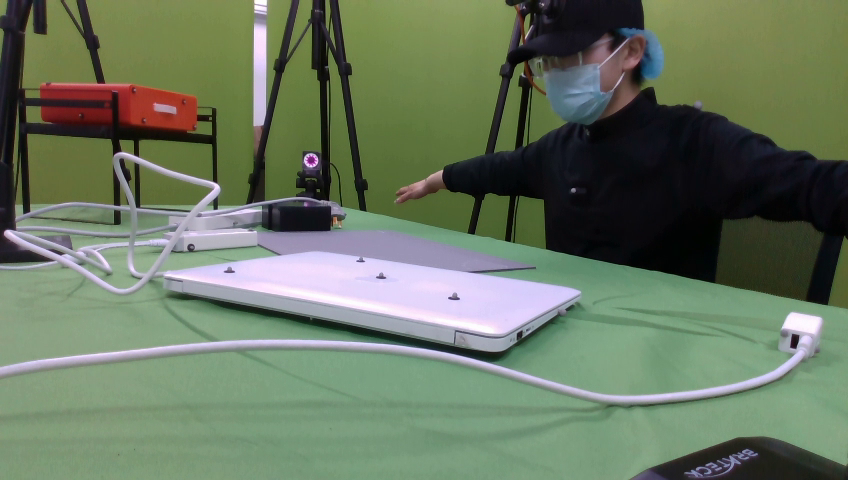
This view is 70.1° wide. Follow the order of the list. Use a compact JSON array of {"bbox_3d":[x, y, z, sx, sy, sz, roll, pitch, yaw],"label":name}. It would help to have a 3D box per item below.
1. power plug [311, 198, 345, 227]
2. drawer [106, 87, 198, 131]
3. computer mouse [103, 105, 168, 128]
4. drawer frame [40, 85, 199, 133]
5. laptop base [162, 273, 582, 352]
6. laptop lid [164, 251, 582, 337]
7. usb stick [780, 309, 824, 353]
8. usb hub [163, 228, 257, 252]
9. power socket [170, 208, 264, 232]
[{"bbox_3d":[-0.195,-0.053,1.220,0.073,0.052,0.035,4,-22,-21],"label":"power plug"},{"bbox_3d":[-0.609,-0.264,1.235,0.211,0.073,0.195,3,8,16],"label":"drawer"},{"bbox_3d":[-0.582,-0.249,1.223,0.118,0.041,0.062,2,3,-39],"label":"computer mouse"},{"bbox_3d":[-0.612,-0.266,1.235,0.213,0.082,0.202,4,8,15],"label":"drawer frame"},{"bbox_3d":[-0.046,0.052,0.598,0.353,0.023,0.236,7,6,28],"label":"laptop base"},{"bbox_3d":[-0.045,0.040,0.599,0.355,0.013,0.243,7,7,30],"label":"laptop lid"},{"bbox_3d":[0.311,0.072,0.497,0.027,0.021,0.059,7,15,34],"label":"usb stick"},{"bbox_3d":[-0.313,-0.001,0.894,0.049,0.025,0.126,9,10,41],"label":"usb hub"},{"bbox_3d":[-0.380,-0.038,1.129,0.072,0.032,0.227,4,8,15],"label":"power socket"}]
